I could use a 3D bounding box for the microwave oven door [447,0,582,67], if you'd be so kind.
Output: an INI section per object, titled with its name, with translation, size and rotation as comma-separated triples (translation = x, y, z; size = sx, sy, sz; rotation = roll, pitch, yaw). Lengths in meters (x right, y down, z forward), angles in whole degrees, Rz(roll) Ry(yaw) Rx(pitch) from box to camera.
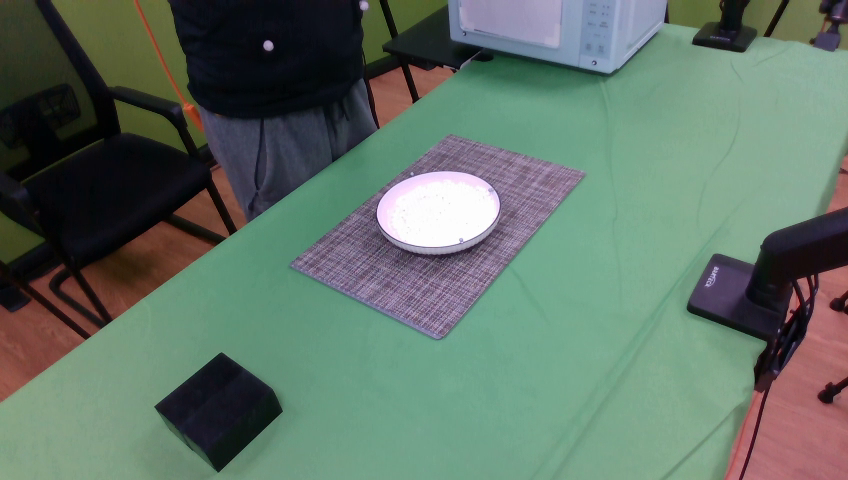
[microwave oven door]
translation = 0.203, -0.544, 1.372
size = 0.353, 0.245, 0.039
rotation = 23, 49, 30

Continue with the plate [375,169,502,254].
[plate]
translation = 0.024, -0.044, 0.998
size = 0.209, 0.038, 0.208
rotation = -4, 41, 4

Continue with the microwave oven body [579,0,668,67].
[microwave oven body]
translation = 0.325, -0.609, 1.437
size = 0.438, 0.261, 0.327
rotation = 23, 49, 30

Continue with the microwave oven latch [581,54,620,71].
[microwave oven latch]
translation = 0.386, -0.393, 1.329
size = 0.078, 0.029, 0.030
rotation = 24, 51, 32
